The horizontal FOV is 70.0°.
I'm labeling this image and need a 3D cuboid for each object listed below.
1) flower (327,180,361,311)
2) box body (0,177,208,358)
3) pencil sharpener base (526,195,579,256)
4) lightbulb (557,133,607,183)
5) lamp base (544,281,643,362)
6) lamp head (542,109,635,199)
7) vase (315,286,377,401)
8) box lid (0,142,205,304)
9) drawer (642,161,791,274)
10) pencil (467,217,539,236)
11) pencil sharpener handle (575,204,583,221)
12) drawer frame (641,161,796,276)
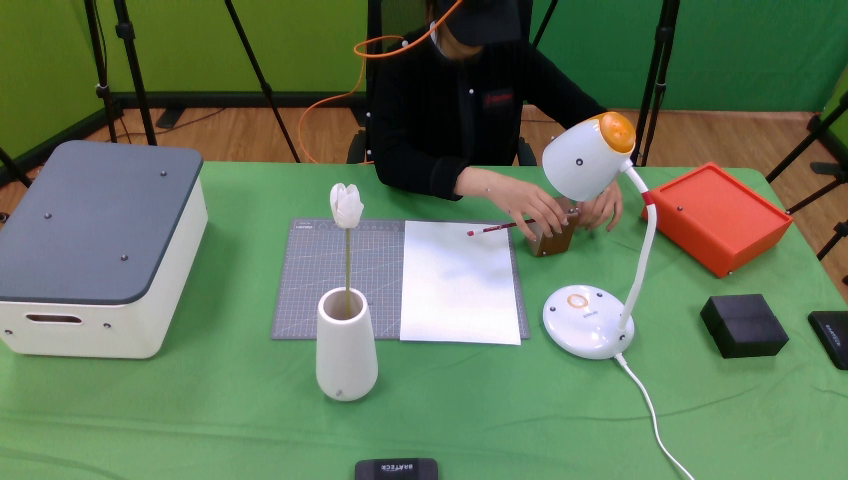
[{"bbox_3d":[-0.110,0.086,0.867,0.044,0.363,0.038,22,33,36],"label":"flower"},{"bbox_3d":[-0.546,0.017,1.045,0.254,0.161,0.361,2,46,-2],"label":"box body"},{"bbox_3d":[0.252,-0.028,1.181,0.077,0.107,0.061,-11,47,-14],"label":"pencil sharpener base"},{"bbox_3d":[0.242,-0.127,0.916,0.059,0.108,0.059,5,67,-13],"label":"lightbulb"},{"bbox_3d":[0.303,0.095,1.014,0.161,0.181,0.178,-24,54,-24],"label":"lamp base"},{"bbox_3d":[0.253,-0.131,0.893,0.113,0.123,0.112,10,66,-24],"label":"lamp head"},{"bbox_3d":[-0.119,0.159,0.911,0.098,0.201,0.097,2,47,-2],"label":"vase"},{"bbox_3d":[-0.534,-0.044,0.995,0.263,0.015,0.369,3,45,-3],"label":"box lid"},{"bbox_3d":[0.596,-0.051,1.246,0.194,0.073,0.210,-23,53,-25],"label":"drawer"},{"bbox_3d":[0.174,-0.031,1.143,0.194,0.012,0.012,-12,48,-12],"label":"pencil"},{"bbox_3d":[0.299,-0.051,1.188,0.031,0.068,0.036,-11,71,-14],"label":"pencil sharpener handle"},{"bbox_3d":[0.599,-0.051,1.244,0.202,0.083,0.212,-24,53,-25],"label":"drawer frame"}]
